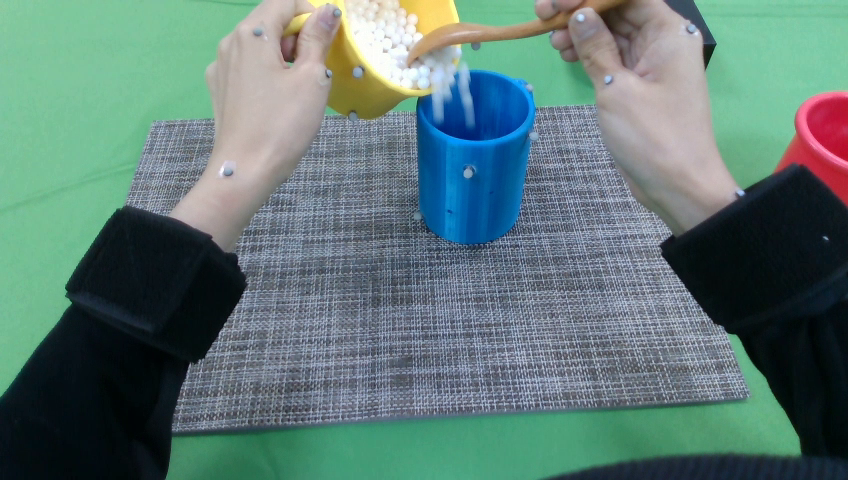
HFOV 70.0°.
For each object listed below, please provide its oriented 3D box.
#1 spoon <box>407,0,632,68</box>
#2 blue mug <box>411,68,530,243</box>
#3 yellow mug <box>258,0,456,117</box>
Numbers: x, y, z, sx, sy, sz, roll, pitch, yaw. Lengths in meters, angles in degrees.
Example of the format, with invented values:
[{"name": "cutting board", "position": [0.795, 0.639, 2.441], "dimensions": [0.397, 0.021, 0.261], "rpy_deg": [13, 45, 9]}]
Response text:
[{"name": "spoon", "position": [0.055, -0.124, 0.349], "dimensions": [0.041, 0.022, 0.192], "rpy_deg": [-35, 26, -34]}, {"name": "blue mug", "position": [0.044, -0.071, 0.463], "dimensions": [0.081, 0.107, 0.116], "rpy_deg": [34, 59, 24]}, {"name": "yellow mug", "position": [-0.047, -0.137, 0.404], "dimensions": [0.131, 0.063, 0.100], "rpy_deg": [-17, 95, -39]}]
